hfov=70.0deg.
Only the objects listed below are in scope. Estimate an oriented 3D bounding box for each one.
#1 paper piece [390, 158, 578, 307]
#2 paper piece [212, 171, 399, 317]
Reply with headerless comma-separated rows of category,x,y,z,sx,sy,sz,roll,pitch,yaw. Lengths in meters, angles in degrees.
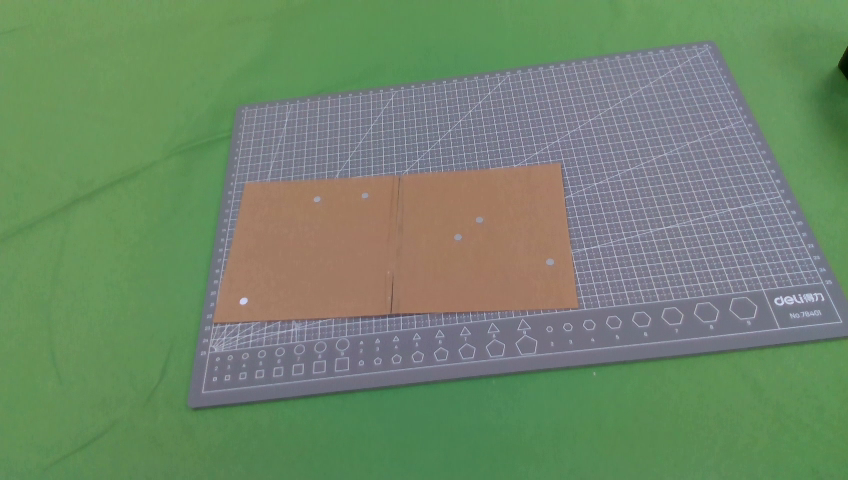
paper piece,0.043,-0.009,0.464,0.135,0.004,0.134,-1,55,6
paper piece,-0.089,-0.002,0.479,0.138,0.009,0.134,-2,52,8
